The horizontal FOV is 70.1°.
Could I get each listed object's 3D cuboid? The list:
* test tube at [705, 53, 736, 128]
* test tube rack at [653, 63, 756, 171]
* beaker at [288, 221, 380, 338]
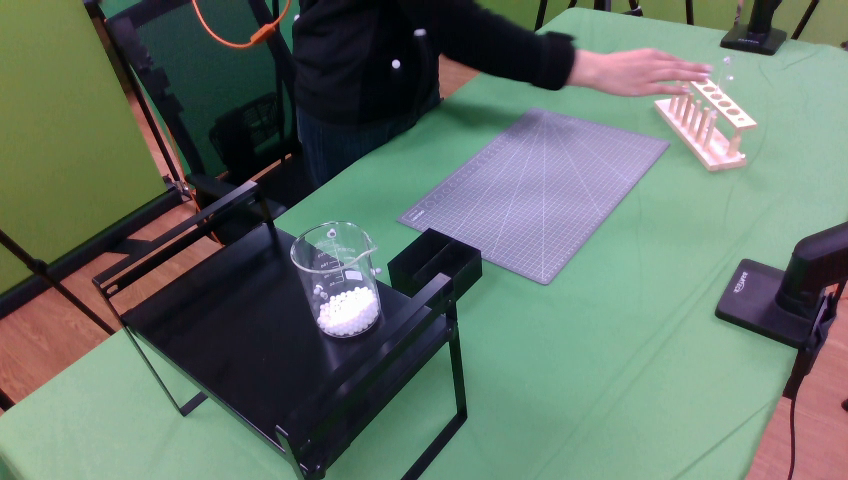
[{"bbox_3d":[0.525,-0.260,1.073,0.017,0.151,0.017,-3,47,4],"label":"test tube"},{"bbox_3d":[0.510,-0.233,1.120,0.067,0.085,0.241,-9,41,-1],"label":"test tube rack"},{"bbox_3d":[-0.082,0.042,0.602,0.084,0.101,0.073,-5,41,3],"label":"beaker"}]
